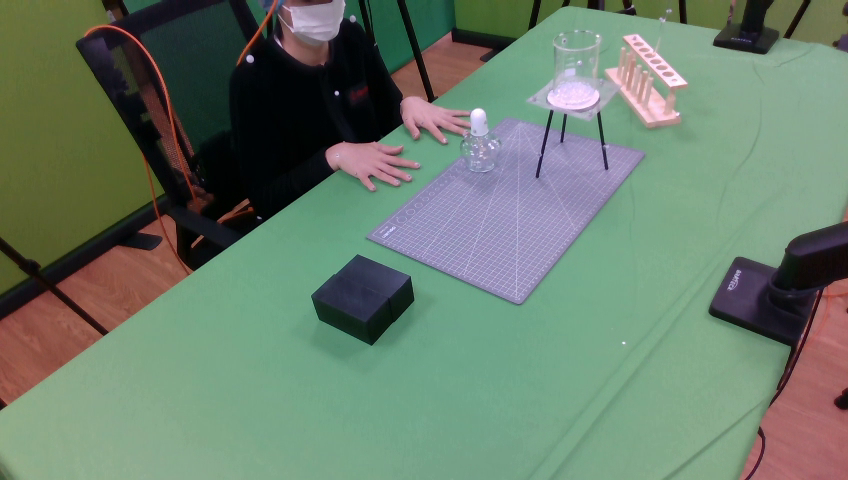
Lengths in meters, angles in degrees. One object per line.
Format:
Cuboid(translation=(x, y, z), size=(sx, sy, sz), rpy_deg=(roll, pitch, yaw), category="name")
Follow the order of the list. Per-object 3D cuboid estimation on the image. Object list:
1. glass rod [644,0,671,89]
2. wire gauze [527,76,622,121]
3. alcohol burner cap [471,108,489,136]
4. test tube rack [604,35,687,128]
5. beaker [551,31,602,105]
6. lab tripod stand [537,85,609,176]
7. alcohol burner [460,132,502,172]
Cuboid(translation=(0.463, -0.387, 1.204), size=(0.008, 0.200, 0.008), rpy_deg=(0, 47, 1), category="glass rod")
Cuboid(translation=(0.255, -0.247, 1.031), size=(0.124, 0.011, 0.122), rpy_deg=(23, 49, 34), category="wire gauze")
Cuboid(translation=(0.098, -0.211, 1.074), size=(0.034, 0.048, 0.033), rpy_deg=(-6, 41, 6), category="alcohol burner cap")
Cuboid(translation=(0.447, -0.330, 1.241), size=(0.067, 0.085, 0.241), rpy_deg=(-9, 41, -2), category="test tube rack")
Cuboid(translation=(0.252, -0.282, 0.998), size=(0.084, 0.101, 0.073), rpy_deg=(-16, 42, -7), category="beaker")
Cuboid(translation=(0.259, -0.192, 1.068), size=(0.148, 0.132, 0.147), rpy_deg=(-4, 42, 4), category="lab tripod stand")
Cuboid(translation=(0.102, -0.185, 1.098), size=(0.078, 0.119, 0.077), rpy_deg=(-6, 40, 5), category="alcohol burner")
